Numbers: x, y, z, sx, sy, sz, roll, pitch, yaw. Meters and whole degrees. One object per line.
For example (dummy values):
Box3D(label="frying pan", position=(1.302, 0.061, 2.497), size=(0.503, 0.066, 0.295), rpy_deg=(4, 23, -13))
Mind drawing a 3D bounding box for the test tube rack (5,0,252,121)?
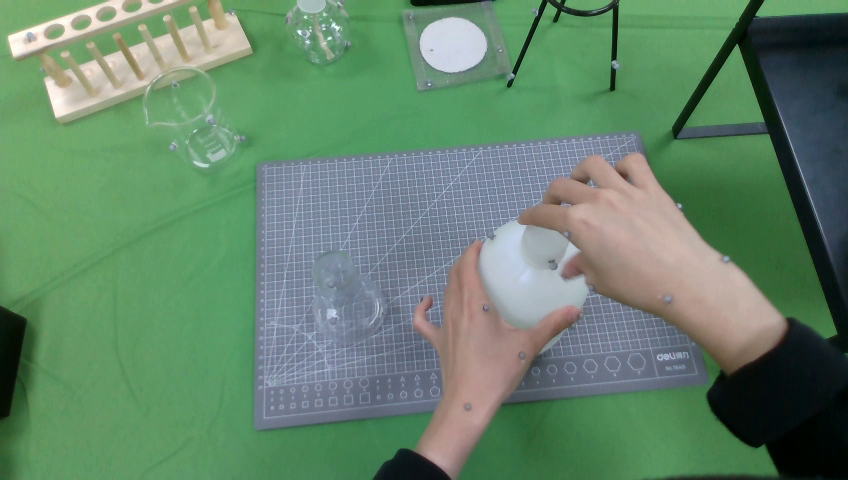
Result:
Box3D(label="test tube rack", position=(-0.340, -0.233, 0.717), size=(0.242, 0.086, 0.066), rpy_deg=(-24, 69, -10))

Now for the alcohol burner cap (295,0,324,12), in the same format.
Box3D(label="alcohol burner cap", position=(-0.131, -0.288, 0.686), size=(0.034, 0.048, 0.033), rpy_deg=(4, 65, -8))

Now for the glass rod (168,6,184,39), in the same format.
Box3D(label="glass rod", position=(-0.295, -0.296, 0.671), size=(0.008, 0.201, 0.008), rpy_deg=(2, 65, -4))

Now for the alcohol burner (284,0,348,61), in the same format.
Box3D(label="alcohol burner", position=(-0.130, -0.271, 0.719), size=(0.078, 0.120, 0.077), rpy_deg=(0, 65, -1))

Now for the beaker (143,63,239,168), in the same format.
Box3D(label="beaker", position=(-0.253, -0.130, 0.666), size=(0.073, 0.101, 0.084), rpy_deg=(39, 73, 16))

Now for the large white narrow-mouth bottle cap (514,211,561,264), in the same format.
Box3D(label="large white narrow-mouth bottle cap", position=(0.087, -0.001, 0.468), size=(0.038, 0.024, 0.037), rpy_deg=(-1, 67, 2))

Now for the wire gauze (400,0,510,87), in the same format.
Box3D(label="wire gauze", position=(0.038, -0.255, 0.769), size=(0.121, 0.011, 0.124), rpy_deg=(-9, 67, -5))

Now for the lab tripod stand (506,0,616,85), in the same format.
Box3D(label="lab tripod stand", position=(0.169, -0.252, 0.700), size=(0.148, 0.132, 0.147), rpy_deg=(1, 66, -2))

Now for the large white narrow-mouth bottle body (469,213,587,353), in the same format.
Box3D(label="large white narrow-mouth bottle body", position=(0.092, 0.033, 0.545), size=(0.102, 0.196, 0.101), rpy_deg=(-1, 67, 2))

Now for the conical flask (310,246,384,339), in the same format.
Box3D(label="conical flask", position=(-0.080, 0.045, 0.577), size=(0.075, 0.123, 0.075), rpy_deg=(0, 67, 1))
